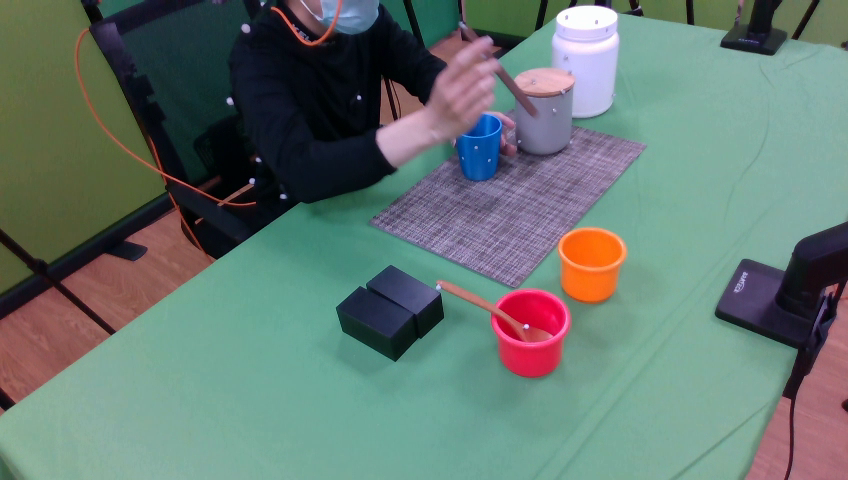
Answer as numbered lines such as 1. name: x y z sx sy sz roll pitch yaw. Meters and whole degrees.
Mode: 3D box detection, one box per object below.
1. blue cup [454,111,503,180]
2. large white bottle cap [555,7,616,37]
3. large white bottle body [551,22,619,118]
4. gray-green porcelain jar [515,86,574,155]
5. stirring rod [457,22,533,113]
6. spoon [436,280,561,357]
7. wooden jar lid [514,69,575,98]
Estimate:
1. blue cup: 0.098 -0.165 1.087 0.092 0.100 0.092 -2 42 2
2. large white bottle cap: 0.311 -0.420 1.163 0.115 0.018 0.114 -4 40 4
3. large white bottle body: 0.321 -0.356 1.218 0.130 0.185 0.130 -4 41 4
4. gray-green porcelain jar: 0.223 -0.232 1.129 0.106 0.127 0.105 -4 40 4
5. stirring rod: 0.107 -0.249 0.884 0.006 0.177 0.014 2 56 55
6. spoon: 0.096 0.095 0.757 0.195 0.021 0.041 34 43 -20
7. wooden jar lid: 0.216 -0.279 1.088 0.108 0.021 0.108 -3 38 3
